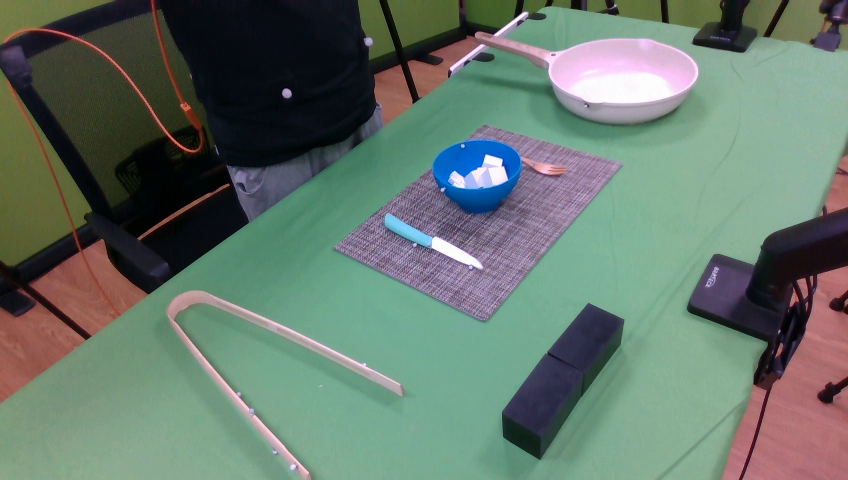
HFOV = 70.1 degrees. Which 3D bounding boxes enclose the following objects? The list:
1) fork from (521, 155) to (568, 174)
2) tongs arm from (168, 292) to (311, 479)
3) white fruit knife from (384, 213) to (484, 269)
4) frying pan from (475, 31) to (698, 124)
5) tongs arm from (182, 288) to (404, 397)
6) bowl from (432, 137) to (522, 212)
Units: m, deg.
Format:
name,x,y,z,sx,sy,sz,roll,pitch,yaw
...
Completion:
name,x,y,z,sx,sy,sz,roll,pitch,yaw
fork,0.168,-0.152,1.117,0.206,0.019,0.028,22,57,27
tongs arm,-0.244,0.175,0.787,0.381,0.026,0.051,30,52,36
white fruit knife,0.011,0.002,0.962,0.206,0.016,0.027,26,61,31
frying pan,0.320,-0.371,1.290,0.485,0.103,0.307,28,50,23
tongs arm,-0.191,0.134,0.833,0.385,0.028,0.028,18,49,26
bowl,0.091,-0.100,1.021,0.151,0.077,0.150,-4,41,4
